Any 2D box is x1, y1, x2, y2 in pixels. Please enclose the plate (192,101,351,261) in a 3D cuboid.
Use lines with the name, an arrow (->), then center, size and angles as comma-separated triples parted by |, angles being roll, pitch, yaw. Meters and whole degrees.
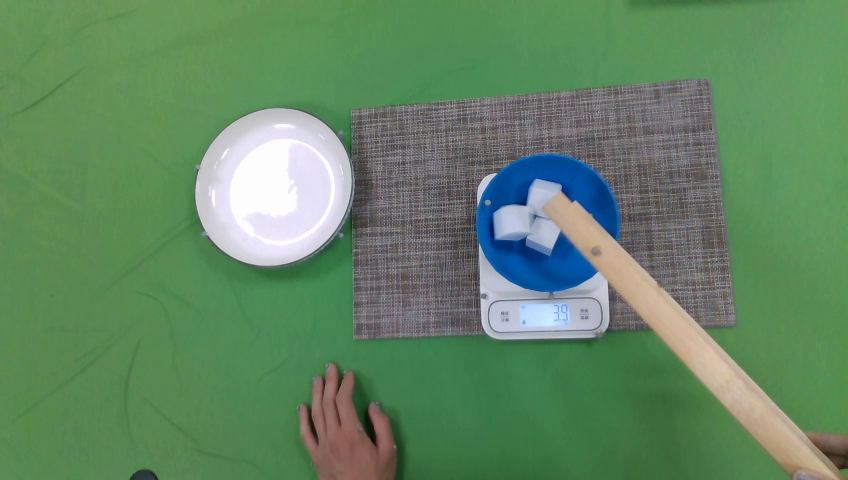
plate -> -0.192, -0.073, 0.777 | 0.207, 0.039, 0.207 | -1, 81, 7

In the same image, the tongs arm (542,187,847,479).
tongs arm -> 0.232, 0.095, 0.499 | 0.028, 0.028, 0.384 | -45, 67, 13

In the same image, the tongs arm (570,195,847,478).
tongs arm -> 0.247, 0.098, 0.525 | 0.026, 0.051, 0.382 | -46, 69, 16

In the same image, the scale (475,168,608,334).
scale -> 0.138, 0.009, 0.720 | 0.148, 0.032, 0.200 | -3, 81, 7

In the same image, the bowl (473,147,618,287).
bowl -> 0.131, -0.019, 0.671 | 0.151, 0.077, 0.151 | -1, 82, 6
